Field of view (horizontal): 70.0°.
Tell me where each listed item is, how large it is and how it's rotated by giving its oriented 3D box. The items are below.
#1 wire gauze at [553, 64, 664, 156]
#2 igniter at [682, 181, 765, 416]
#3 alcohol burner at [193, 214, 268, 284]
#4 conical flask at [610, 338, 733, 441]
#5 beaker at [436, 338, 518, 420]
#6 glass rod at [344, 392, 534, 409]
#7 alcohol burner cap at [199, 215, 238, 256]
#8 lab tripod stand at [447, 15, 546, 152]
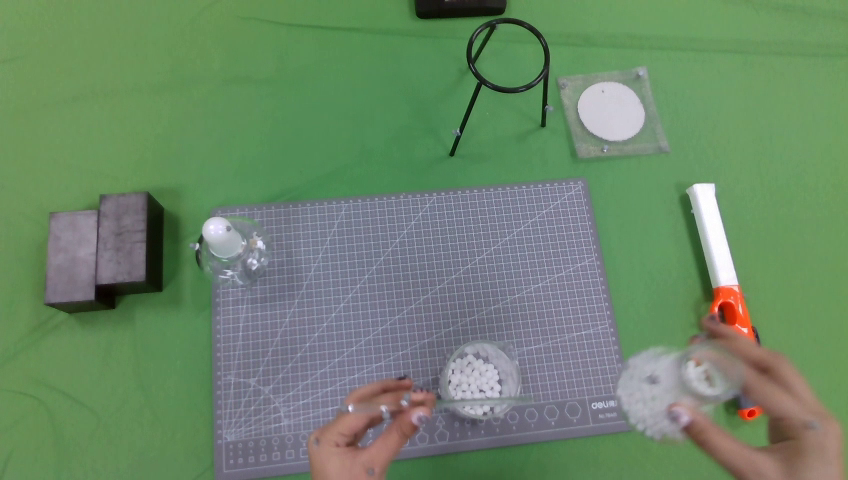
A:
[{"bbox_3d":[0.236,-0.165,0.774,0.125,0.011,0.120,-6,75,-8],"label":"wire gauze"},{"bbox_3d":[0.348,0.062,0.706,0.057,0.025,0.275,-2,74,-16],"label":"igniter"},{"bbox_3d":[-0.206,0.005,0.632,0.078,0.119,0.077,1,74,-2],"label":"alcohol burner"},{"bbox_3d":[0.177,0.099,0.424,0.075,0.123,0.075,-3,69,7],"label":"conical flask"},{"bbox_3d":[0.052,0.142,0.620,0.074,0.100,0.084,40,74,8],"label":"beaker"},{"bbox_3d":[0.022,0.130,0.491,0.201,0.008,0.008,9,69,-38],"label":"glass rod"},{"bbox_3d":[-0.204,-0.007,0.598,0.034,0.048,0.033,2,66,-4],"label":"alcohol burner cap"},{"bbox_3d":[0.080,-0.178,0.700,0.148,0.132,0.147,1,75,-4],"label":"lab tripod stand"}]
